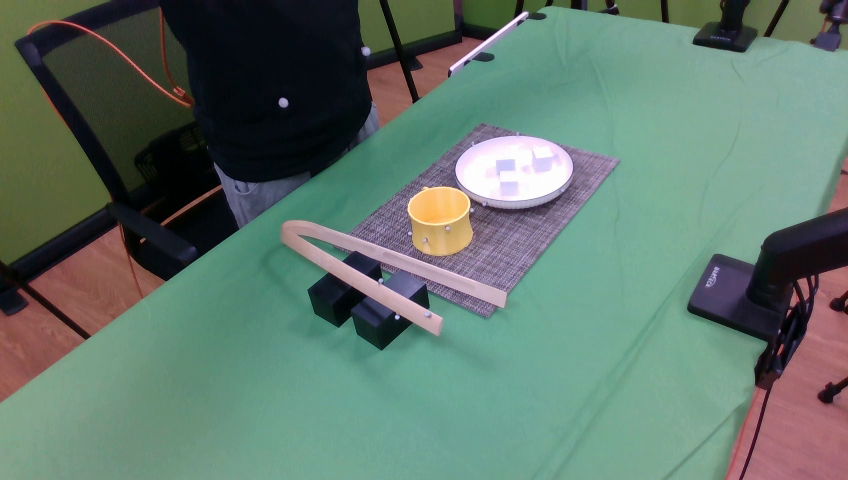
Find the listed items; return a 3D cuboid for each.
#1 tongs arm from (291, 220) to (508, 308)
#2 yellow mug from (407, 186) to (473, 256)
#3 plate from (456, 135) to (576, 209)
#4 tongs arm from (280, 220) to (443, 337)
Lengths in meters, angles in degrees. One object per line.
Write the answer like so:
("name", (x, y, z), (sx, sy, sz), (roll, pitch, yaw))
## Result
("tongs arm", (-0.049, 0.031, 0.924), (0.385, 0.028, 0.028), (18, 25, 26))
("yellow mug", (0.021, -0.041, 0.973), (0.100, 0.064, 0.129), (-19, 41, -12))
("plate", (0.161, -0.116, 1.064), (0.207, 0.039, 0.206), (-4, 40, 4))
("tongs arm", (-0.101, 0.043, 0.861), (0.381, 0.026, 0.051), (24, 24, 38))
